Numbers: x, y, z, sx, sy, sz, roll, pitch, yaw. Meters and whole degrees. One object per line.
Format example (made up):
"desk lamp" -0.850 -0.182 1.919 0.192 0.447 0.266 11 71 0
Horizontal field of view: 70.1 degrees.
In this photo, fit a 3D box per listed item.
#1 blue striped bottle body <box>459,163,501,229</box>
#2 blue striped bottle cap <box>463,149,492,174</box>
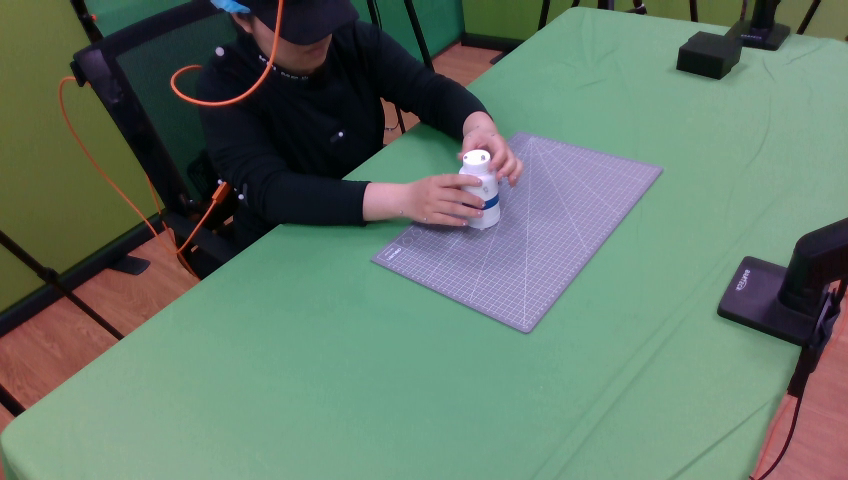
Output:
"blue striped bottle body" 0.091 -0.082 0.982 0.063 0.121 0.063 -6 40 5
"blue striped bottle cap" 0.084 -0.124 0.949 0.044 0.021 0.044 -5 43 5
